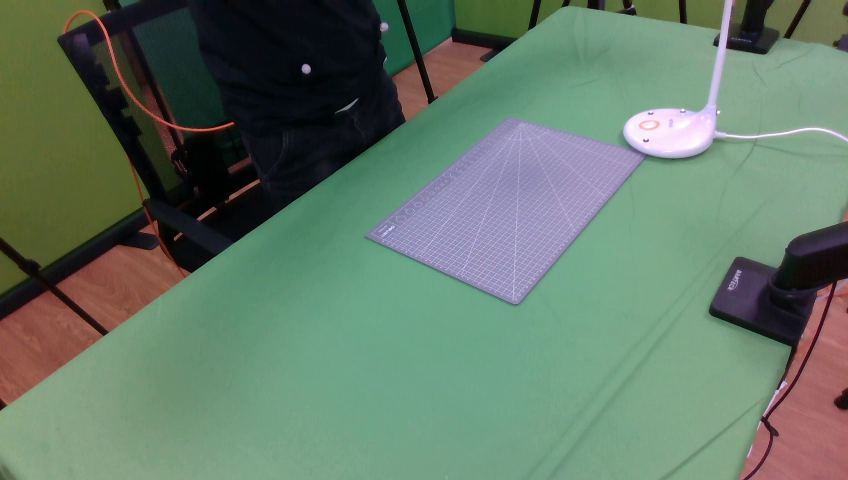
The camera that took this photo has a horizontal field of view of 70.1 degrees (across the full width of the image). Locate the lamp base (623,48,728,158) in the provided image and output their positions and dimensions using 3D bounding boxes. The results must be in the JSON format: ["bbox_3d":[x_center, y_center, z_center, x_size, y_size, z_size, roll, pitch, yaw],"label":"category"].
[{"bbox_3d":[0.462,-0.261,1.084,0.179,0.181,0.160,3,42,7],"label":"lamp base"}]
